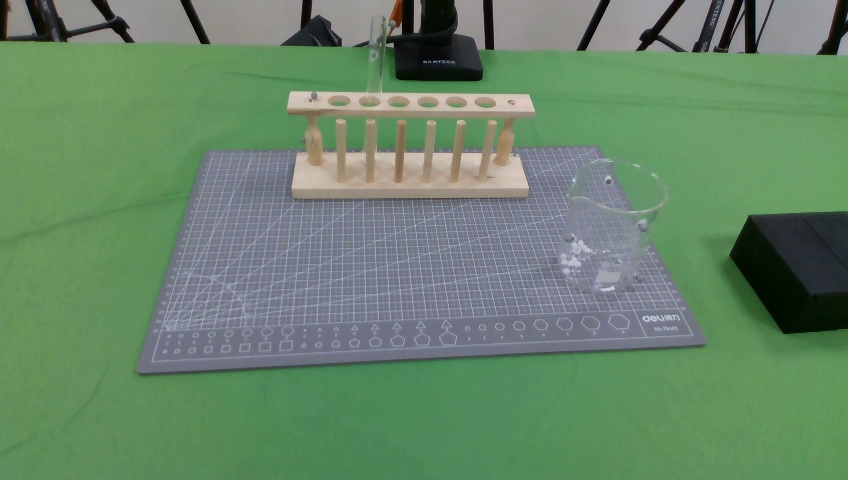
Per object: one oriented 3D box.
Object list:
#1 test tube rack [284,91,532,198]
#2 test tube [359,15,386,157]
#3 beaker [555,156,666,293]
[{"bbox_3d":[-0.015,-0.097,0.618,0.243,0.086,0.066,-1,42,-5],"label":"test tube rack"},{"bbox_3d":[-0.052,-0.145,0.594,0.017,0.151,0.017,6,41,-5],"label":"test tube"},{"bbox_3d":[0.153,-0.010,0.524,0.084,0.101,0.073,-7,43,-10],"label":"beaker"}]
